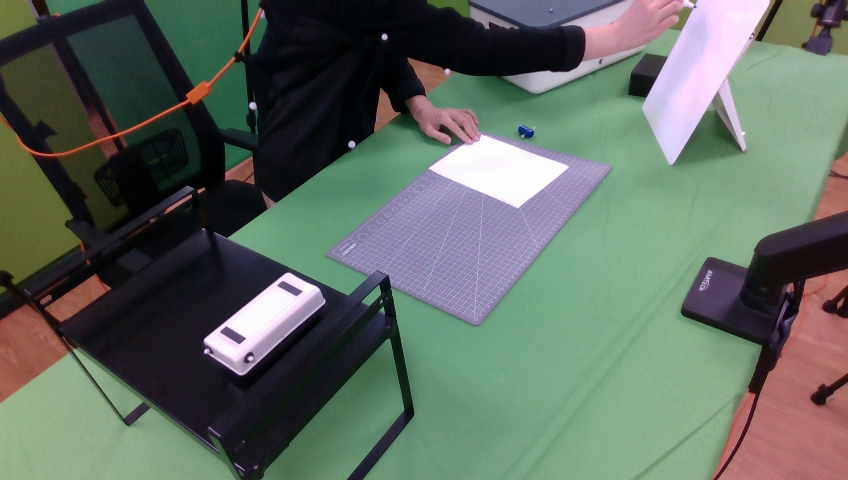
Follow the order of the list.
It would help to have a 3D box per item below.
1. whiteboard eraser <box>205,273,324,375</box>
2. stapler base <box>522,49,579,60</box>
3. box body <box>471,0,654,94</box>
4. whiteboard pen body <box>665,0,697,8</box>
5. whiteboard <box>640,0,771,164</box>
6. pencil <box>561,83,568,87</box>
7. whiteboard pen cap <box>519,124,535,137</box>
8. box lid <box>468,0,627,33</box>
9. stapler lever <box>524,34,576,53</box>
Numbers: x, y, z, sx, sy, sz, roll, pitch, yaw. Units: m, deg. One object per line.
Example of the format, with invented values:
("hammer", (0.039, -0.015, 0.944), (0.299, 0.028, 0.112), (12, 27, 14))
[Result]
("whiteboard eraser", (-0.157, 0.084, 0.605), (0.055, 0.042, 0.113), (24, 49, 30))
("stapler base", (0.300, -0.441, 1.433), (0.130, 0.024, 0.041), (3, 22, 18))
("box body", (0.319, -0.498, 1.405), (0.365, 0.161, 0.252), (-26, 43, -21))
("whiteboard pen body", (0.410, -0.421, 1.036), (0.141, 0.017, 0.017), (12, 38, -15))
("whiteboard", (0.543, -0.299, 1.076), (0.144, 0.305, 0.216), (12, 40, -7))
("pencil", (0.248, -0.393, 1.398), (0.193, 0.012, 0.012), (32, 53, 24))
("whiteboard pen cap", (0.206, -0.218, 1.205), (0.018, 0.018, 0.033), (-28, 45, -23))
("box lid", (0.312, -0.554, 1.358), (0.373, 0.015, 0.261), (-26, 44, -20))
("stapler lever", (0.297, -0.462, 1.424), (0.117, 0.040, 0.027), (5, 23, 17))
